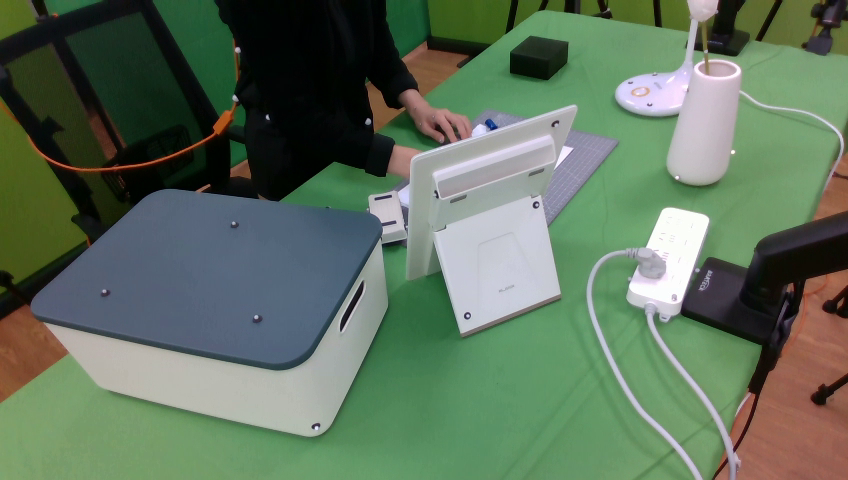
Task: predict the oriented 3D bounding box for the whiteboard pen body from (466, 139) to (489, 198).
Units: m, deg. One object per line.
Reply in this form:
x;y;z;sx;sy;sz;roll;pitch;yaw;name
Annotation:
0.092;-0.115;1.004;0.017;0.142;0.017;-10;53;13;whiteboard pen body

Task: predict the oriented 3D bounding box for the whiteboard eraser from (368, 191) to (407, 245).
-0.061;-0.035;1.006;0.056;0.042;0.112;-9;40;-4;whiteboard eraser

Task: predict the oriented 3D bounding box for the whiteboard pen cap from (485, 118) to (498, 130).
0.138;-0.232;1.228;0.018;0.018;0.033;-16;43;-11;whiteboard pen cap

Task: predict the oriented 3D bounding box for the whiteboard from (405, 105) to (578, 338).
0.102;0.003;0.787;0.218;0.306;0.143;-19;62;-14;whiteboard

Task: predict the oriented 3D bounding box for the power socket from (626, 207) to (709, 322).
0.360;0.026;0.886;0.072;0.033;0.227;17;46;27;power socket

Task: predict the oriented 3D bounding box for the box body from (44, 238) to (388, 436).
-0.251;0.088;0.799;0.362;0.161;0.254;7;42;16;box body

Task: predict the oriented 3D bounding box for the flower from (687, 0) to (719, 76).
0.436;-0.242;0.934;0.038;0.364;0.043;-24;49;8;flower

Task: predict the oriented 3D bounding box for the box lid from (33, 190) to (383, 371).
-0.257;0.032;0.750;0.370;0.015;0.263;7;42;16;box lid

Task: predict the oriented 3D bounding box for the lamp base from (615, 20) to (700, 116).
0.484;-0.364;1.211;0.180;0.181;0.159;-15;41;-14;lamp base

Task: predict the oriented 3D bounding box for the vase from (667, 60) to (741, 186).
0.463;-0.189;0.995;0.098;0.201;0.097;-4;40;3;vase

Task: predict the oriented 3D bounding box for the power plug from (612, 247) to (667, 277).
0.306;0.031;0.852;0.072;0.053;0.035;21;48;37;power plug
